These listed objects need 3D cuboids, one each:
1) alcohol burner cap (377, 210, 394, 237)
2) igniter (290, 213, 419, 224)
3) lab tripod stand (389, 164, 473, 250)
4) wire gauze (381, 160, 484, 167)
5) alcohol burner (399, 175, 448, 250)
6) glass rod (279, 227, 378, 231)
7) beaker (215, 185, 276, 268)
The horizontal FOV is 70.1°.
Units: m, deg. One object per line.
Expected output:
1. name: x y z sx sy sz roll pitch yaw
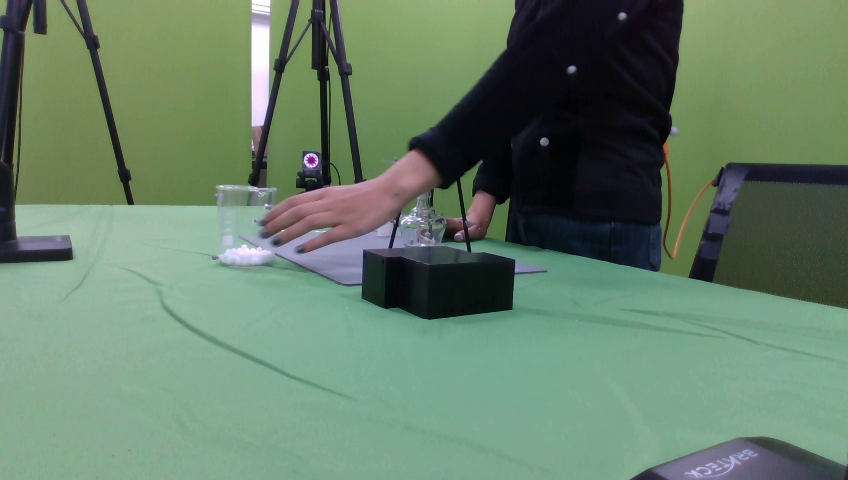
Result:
1. alcohol burner cap: -0.069 -0.031 1.112 0.034 0.048 0.034 1 9 0
2. igniter: -0.144 -0.046 1.288 0.278 0.025 0.057 -1 -3 -24
3. lab tripod stand: 0.010 -0.054 0.961 0.148 0.131 0.148 2 9 0
4. wire gauze: 0.011 -0.120 0.951 0.122 0.011 0.124 -4 9 -32
5. alcohol burner: -0.001 -0.044 0.961 0.078 0.119 0.078 0 8 0
6. glass rod: -0.175 -0.021 1.161 0.200 0.008 0.008 1 7 -15
7. beaker: -0.226 -0.019 0.773 0.074 0.100 0.084 5 7 14
